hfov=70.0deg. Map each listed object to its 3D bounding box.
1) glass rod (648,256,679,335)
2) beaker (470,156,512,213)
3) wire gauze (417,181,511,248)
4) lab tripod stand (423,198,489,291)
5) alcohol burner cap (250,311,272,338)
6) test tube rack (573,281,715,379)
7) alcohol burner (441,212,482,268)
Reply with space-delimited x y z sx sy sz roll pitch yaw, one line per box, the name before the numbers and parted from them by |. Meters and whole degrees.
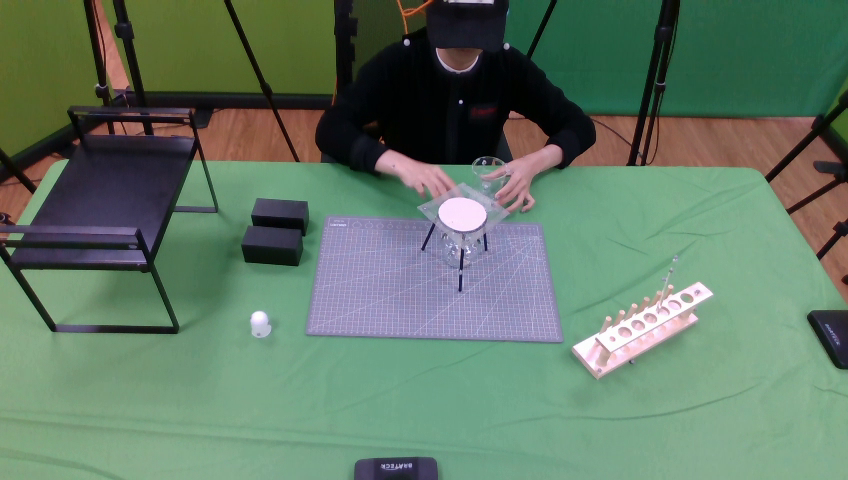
glass rod | 0.390 0.095 0.990 0.008 0.201 0.008 -2 46 2
beaker | 0.136 -0.113 1.260 0.084 0.101 0.073 -2 46 -5
wire gauze | 0.071 -0.051 1.073 0.121 0.011 0.124 -32 55 -29
lab tripod stand | 0.064 -0.002 1.119 0.148 0.132 0.147 1 47 0
alcohol burner cap | -0.278 0.141 1.026 0.034 0.048 0.033 1 47 -1
test tube rack | 0.378 0.140 1.038 0.242 0.085 0.066 -22 51 -23
alcohol burner | 0.071 -0.005 1.136 0.078 0.120 0.077 1 44 0
